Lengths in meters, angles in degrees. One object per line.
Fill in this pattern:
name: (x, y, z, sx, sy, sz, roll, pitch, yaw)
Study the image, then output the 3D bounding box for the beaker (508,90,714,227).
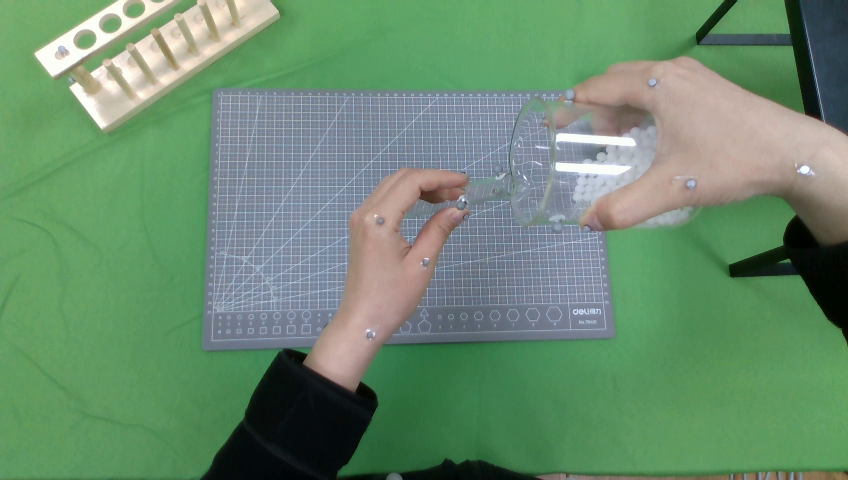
beaker: (0.106, -0.043, 0.357, 0.100, 0.084, 0.073, 2, 77, -10)

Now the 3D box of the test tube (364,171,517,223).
test tube: (0.005, -0.029, 0.439, 0.017, 0.149, 0.017, 7, 79, -42)

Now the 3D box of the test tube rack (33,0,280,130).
test tube rack: (-0.284, -0.231, 0.669, 0.242, 0.085, 0.066, -38, 83, -11)
